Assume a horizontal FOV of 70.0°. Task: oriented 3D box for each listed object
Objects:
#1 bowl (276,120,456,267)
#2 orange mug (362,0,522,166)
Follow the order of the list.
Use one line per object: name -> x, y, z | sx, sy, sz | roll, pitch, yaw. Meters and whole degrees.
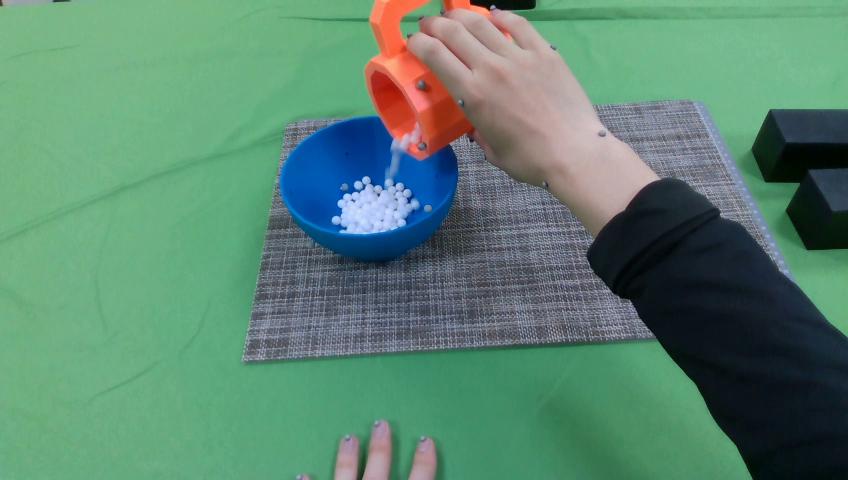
bowl -> -0.046, -0.029, 0.532 | 0.151, 0.077, 0.150 | -2, 48, 2
orange mug -> 0.007, -0.133, 0.475 | 0.101, 0.127, 0.082 | -37, 39, -13
